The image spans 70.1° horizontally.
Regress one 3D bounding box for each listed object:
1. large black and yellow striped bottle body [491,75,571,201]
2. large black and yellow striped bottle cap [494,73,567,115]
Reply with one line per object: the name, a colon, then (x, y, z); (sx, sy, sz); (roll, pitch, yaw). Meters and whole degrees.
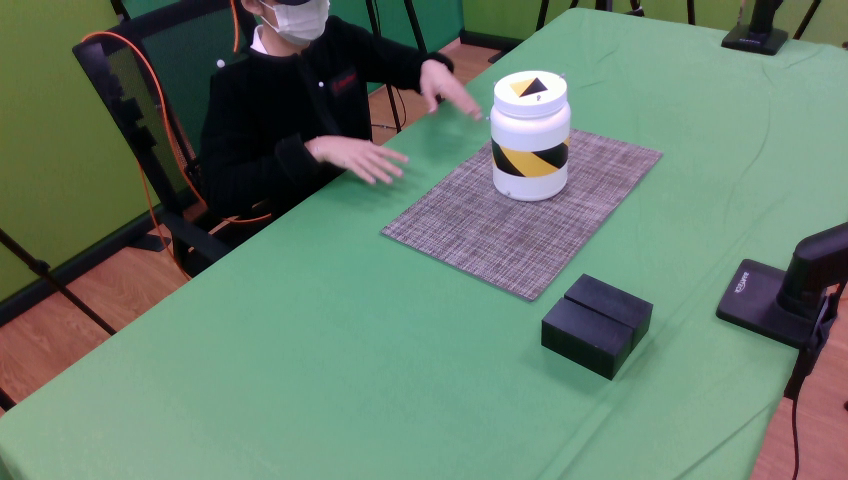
large black and yellow striped bottle body: (0.179, -0.172, 1.019); (0.131, 0.185, 0.130); (-5, 41, 5)
large black and yellow striped bottle cap: (0.169, -0.235, 0.964); (0.115, 0.019, 0.114); (-5, 39, 5)
